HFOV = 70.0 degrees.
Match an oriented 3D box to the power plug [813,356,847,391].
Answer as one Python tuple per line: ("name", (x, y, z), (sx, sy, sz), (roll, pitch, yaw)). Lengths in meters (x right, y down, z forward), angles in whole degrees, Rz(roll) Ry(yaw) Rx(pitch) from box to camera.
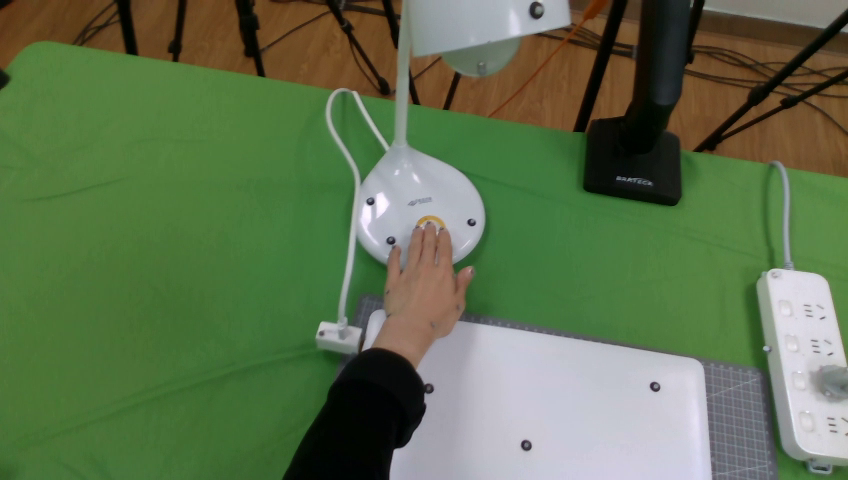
("power plug", (0.431, 0.140, 0.609), (0.072, 0.053, 0.035), (18, 59, 7))

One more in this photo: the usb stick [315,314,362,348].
("usb stick", (-0.082, 0.096, 0.629), (0.059, 0.027, 0.021), (12, 53, 1))

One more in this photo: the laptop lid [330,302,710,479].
("laptop lid", (0.097, 0.190, 0.582), (0.356, 0.013, 0.240), (10, 61, 3))

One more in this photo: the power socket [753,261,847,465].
("power socket", (0.405, 0.120, 0.646), (0.072, 0.033, 0.225), (9, 58, 1))

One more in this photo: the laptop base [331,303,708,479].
("laptop base", (0.097, 0.194, 0.594), (0.354, 0.023, 0.233), (8, 62, 2))

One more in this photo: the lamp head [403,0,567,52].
("lamp head", (0.031, -0.196, 0.406), (0.112, 0.111, 0.123), (-17, 104, -12))

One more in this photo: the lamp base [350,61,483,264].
("lamp base", (-0.012, -0.091, 0.668), (0.161, 0.182, 0.177), (-24, 60, -17))
